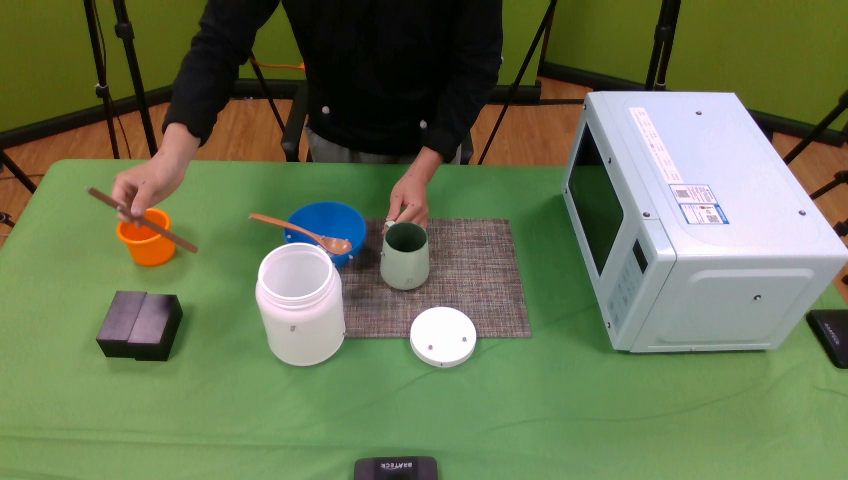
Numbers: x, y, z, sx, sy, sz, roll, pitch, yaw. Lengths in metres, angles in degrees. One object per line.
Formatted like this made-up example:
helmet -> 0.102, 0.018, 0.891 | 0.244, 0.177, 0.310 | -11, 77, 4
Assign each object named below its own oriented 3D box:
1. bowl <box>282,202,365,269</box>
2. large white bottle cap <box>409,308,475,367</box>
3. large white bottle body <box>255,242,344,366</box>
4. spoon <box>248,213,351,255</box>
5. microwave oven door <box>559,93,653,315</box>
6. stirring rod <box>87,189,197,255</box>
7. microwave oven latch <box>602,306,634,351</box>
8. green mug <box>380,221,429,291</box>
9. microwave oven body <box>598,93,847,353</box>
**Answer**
bowl -> -0.185, 0.006, 1.136 | 0.151, 0.077, 0.150 | 3, 46, -2
large white bottle cap -> 0.031, 0.165, 1.041 | 0.115, 0.018, 0.114 | 2, 47, -2
large white bottle body -> -0.196, 0.102, 0.967 | 0.131, 0.185, 0.130 | 2, 49, -2
spoon -> -0.228, -0.014, 1.113 | 0.194, 0.022, 0.041 | 23, 39, -15
microwave oven door -> 0.327, -0.074, 1.123 | 0.039, 0.245, 0.353 | -1, 46, -5
stirring rod -> -0.427, -0.026, 0.927 | 0.177, 0.006, 0.014 | 36, 21, -26
microwave oven latch -> 0.332, 0.153, 1.044 | 0.030, 0.029, 0.078 | 0, 45, -4
green mug -> -0.043, 0.020, 1.116 | 0.092, 0.105, 0.124 | -20, 50, -21
microwave oven body -> 0.475, -0.041, 1.109 | 0.326, 0.261, 0.438 | -1, 45, -4
